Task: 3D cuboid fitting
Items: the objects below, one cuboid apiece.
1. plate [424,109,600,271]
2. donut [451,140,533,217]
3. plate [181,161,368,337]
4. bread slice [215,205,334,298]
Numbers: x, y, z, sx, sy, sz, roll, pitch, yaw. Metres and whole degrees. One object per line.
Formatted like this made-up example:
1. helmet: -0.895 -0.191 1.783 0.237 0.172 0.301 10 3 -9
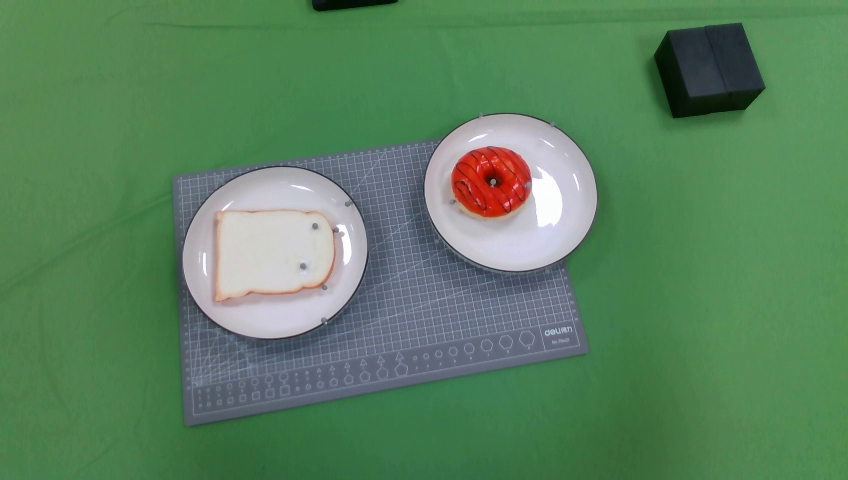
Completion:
1. plate: 0.103 -0.059 0.728 0.208 0.039 0.206 1 71 -2
2. donut: 0.080 -0.074 0.720 0.099 0.048 0.098 0 67 1
3. plate: -0.168 0.011 0.695 0.209 0.038 0.207 1 71 -2
4. bread slice: -0.172 0.008 0.698 0.134 0.018 0.106 -7 72 -4
